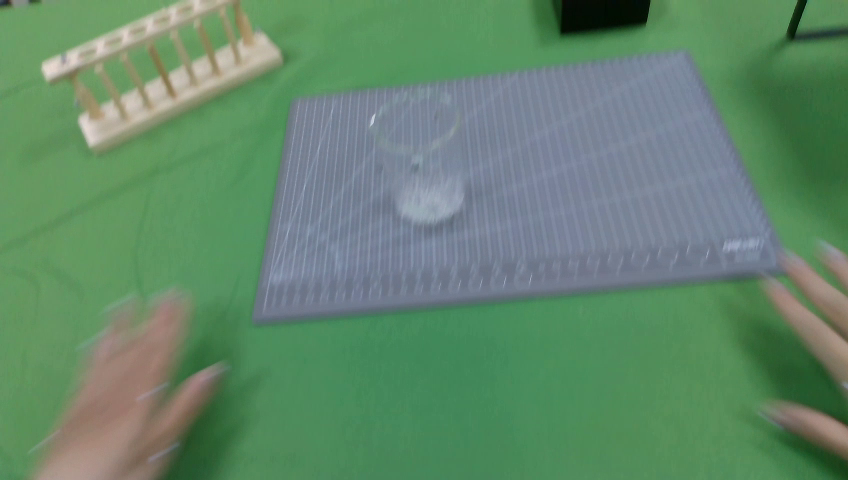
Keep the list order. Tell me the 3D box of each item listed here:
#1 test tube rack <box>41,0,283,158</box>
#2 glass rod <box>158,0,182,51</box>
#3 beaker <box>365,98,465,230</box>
[{"bbox_3d":[-0.299,-0.198,0.712,0.242,0.086,0.066,-31,53,-16],"label":"test tube rack"},{"bbox_3d":[-0.293,-0.265,0.678,0.008,0.201,0.008,-2,44,2],"label":"glass rod"},{"bbox_3d":[-0.004,-0.064,0.545,0.084,0.101,0.073,2,51,12],"label":"beaker"}]
